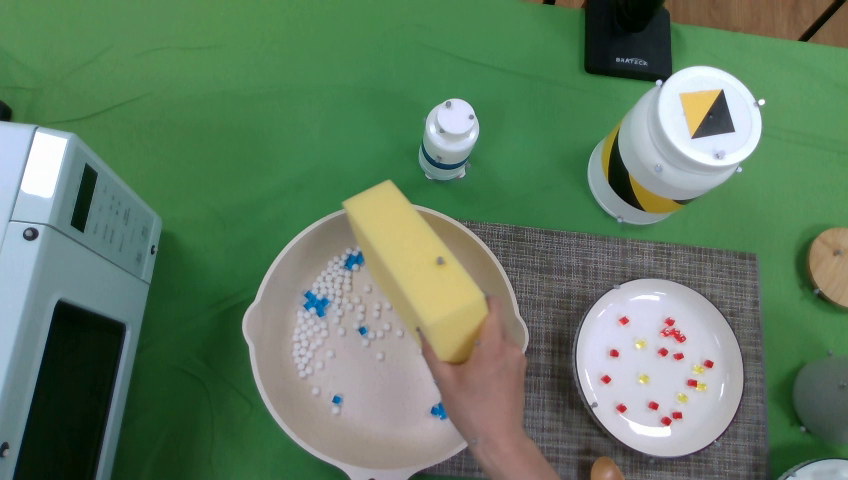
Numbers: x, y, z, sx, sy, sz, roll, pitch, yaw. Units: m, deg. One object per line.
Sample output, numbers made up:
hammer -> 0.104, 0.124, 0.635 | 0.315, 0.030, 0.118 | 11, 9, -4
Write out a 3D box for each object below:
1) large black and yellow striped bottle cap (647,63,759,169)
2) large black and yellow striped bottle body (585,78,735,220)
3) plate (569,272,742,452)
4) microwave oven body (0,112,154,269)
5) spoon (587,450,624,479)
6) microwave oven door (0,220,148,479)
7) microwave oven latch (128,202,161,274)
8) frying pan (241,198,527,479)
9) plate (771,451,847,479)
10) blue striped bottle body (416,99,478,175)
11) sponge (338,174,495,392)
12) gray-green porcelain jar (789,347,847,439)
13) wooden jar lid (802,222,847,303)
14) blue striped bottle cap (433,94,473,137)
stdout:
large black and yellow striped bottle cap -> 0.291, -0.130, 0.632 | 0.115, 0.019, 0.114 | 2, 75, -6
large black and yellow striped bottle body -> 0.282, -0.109, 0.715 | 0.131, 0.184, 0.130 | 2, 75, -6
plate -> 0.272, 0.142, 0.723 | 0.209, 0.038, 0.208 | 2, 76, -6
microwave oven body -> -0.467, 0.126, 0.524 | 0.326, 0.261, 0.439 | 7, 76, -5
spoon -> 0.253, 0.316, 0.688 | 0.193, 0.022, 0.041 | 46, 59, 4
microwave oven door -> -0.327, 0.183, 0.521 | 0.039, 0.244, 0.354 | 6, 75, -5
microwave oven latch -> -0.315, -0.003, 0.673 | 0.030, 0.029, 0.079 | 9, 76, -5
frying pan -> -0.048, 0.194, 0.639 | 0.307, 0.103, 0.484 | 5, 68, -3
plate -> 0.477, 0.351, 0.701 | 0.208, 0.039, 0.206 | 2, 76, -6
blue striped bottle body -> 0.027, -0.126, 0.721 | 0.063, 0.121, 0.063 | 2, 76, -6
sponge -> -0.011, 0.038, 0.627 | 0.061, 0.119, 0.204 | -27, 46, -10
gray-green porcelain jar -> 0.503, 0.177, 0.701 | 0.106, 0.127, 0.105 | 2, 76, -6
wooden jar lid -> 0.547, 0.030, 0.797 | 0.108, 0.021, 0.108 | 1, 78, -6
blue striped bottle cap -> 0.032, -0.138, 0.671 | 0.044, 0.021, 0.044 | 2, 73, -5
